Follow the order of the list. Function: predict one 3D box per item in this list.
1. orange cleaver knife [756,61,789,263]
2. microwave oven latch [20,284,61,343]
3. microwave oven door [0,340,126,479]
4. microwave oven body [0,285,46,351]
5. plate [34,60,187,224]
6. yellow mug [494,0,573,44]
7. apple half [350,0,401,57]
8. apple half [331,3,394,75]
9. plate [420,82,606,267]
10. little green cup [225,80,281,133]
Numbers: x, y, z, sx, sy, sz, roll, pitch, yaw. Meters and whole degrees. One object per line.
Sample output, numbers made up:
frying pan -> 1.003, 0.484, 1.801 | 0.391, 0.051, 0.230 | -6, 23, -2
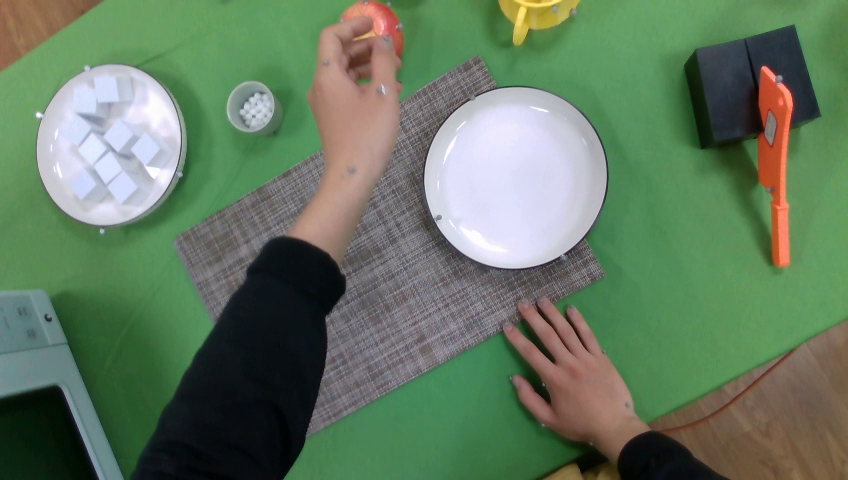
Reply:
orange cleaver knife -> 0.361, -0.077, 0.632 | 0.012, 0.076, 0.213 | -10, 117, 13
microwave oven latch -> -0.496, 0.095, 0.773 | 0.030, 0.029, 0.079 | -23, 86, 7
microwave oven door -> -0.418, 0.289, 0.652 | 0.039, 0.244, 0.355 | -27, 84, 8
microwave oven body -> -0.565, 0.316, 0.681 | 0.326, 0.261, 0.440 | -27, 85, 7
plate -> -0.397, -0.123, 0.780 | 0.207, 0.039, 0.207 | 0, 89, 10
yellow mug -> 0.120, -0.287, 0.685 | 0.099, 0.064, 0.131 | 19, 93, 9
apple half -> -0.048, -0.252, 0.707 | 0.033, 0.081, 0.081 | -39, 82, 11
apple half -> -0.078, -0.228, 0.713 | 0.053, 0.075, 0.080 | -38, 86, 11
plate -> 0.100, -0.074, 0.693 | 0.209, 0.038, 0.209 | 0, 89, 10
little green cup -> -0.209, -0.162, 0.750 | 0.061, 0.039, 0.061 | 0, 88, 10
